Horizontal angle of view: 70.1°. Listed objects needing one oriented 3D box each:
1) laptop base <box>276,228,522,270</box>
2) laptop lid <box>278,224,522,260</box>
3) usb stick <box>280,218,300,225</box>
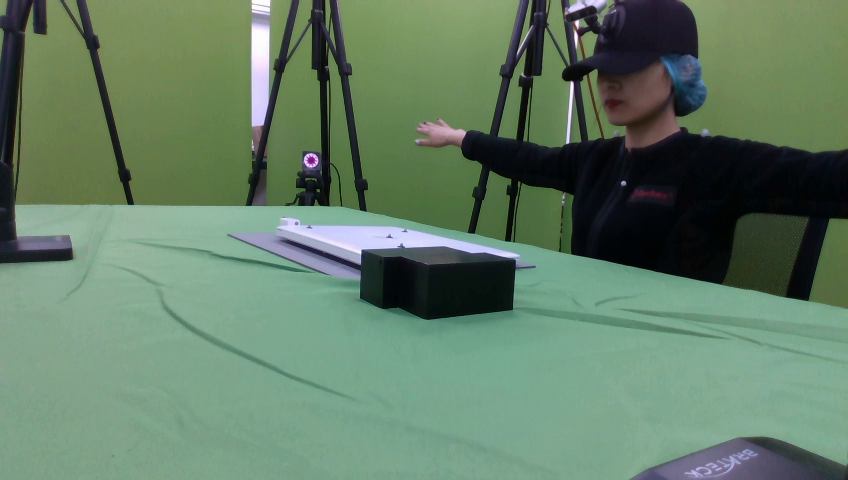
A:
[{"bbox_3d":[-0.054,0.011,0.910,0.237,0.023,0.352,1,6,-33],"label":"laptop base"},{"bbox_3d":[-0.052,-0.001,0.909,0.243,0.013,0.355,0,7,-32],"label":"laptop lid"},{"bbox_3d":[-0.225,-0.023,1.024,0.021,0.027,0.059,0,9,-31],"label":"usb stick"}]
